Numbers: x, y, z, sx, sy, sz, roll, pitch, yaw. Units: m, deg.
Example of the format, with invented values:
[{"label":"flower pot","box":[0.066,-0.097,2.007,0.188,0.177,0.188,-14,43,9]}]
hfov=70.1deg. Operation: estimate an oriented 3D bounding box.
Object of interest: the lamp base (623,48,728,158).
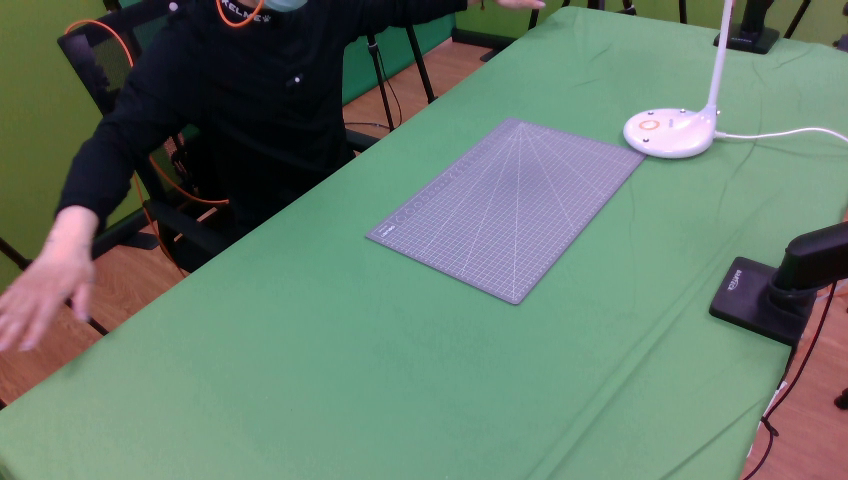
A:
[{"label":"lamp base","box":[0.462,-0.261,1.084,0.179,0.181,0.160,3,42,7]}]
